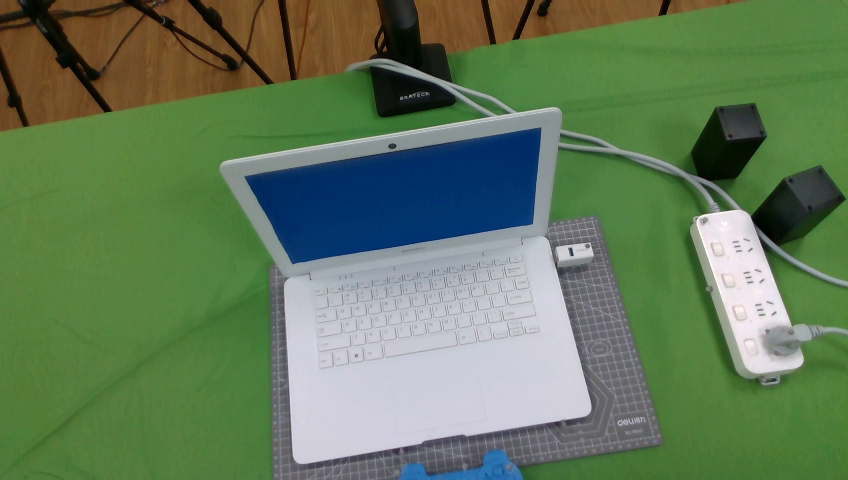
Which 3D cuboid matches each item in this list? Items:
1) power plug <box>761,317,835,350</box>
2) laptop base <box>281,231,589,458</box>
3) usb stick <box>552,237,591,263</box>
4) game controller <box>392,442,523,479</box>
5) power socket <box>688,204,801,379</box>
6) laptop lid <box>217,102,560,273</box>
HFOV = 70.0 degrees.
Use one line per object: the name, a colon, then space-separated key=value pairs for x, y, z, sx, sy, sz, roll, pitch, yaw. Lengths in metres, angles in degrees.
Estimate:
power plug: x=0.426 y=0.110 z=0.697 sx=0.072 sy=0.053 sz=0.035 roll=4 pitch=65 yaw=2
laptop base: x=0.004 y=0.122 z=0.753 sx=0.354 sy=0.023 sz=0.233 roll=-10 pitch=69 yaw=0
usb stick: x=0.181 y=0.014 z=0.774 sx=0.059 sy=0.027 sz=0.021 roll=-11 pitch=66 yaw=4
game controller: x=0.037 y=0.279 z=0.663 sx=0.155 sy=0.052 sz=0.096 roll=-9 pitch=63 yaw=0
power socket: x=0.389 y=0.055 z=0.745 sx=0.072 sy=0.033 sz=0.225 roll=-8 pitch=65 yaw=2
laptop lid: x=-0.026 y=-0.048 z=0.700 sx=0.357 sy=0.244 sz=0.013 roll=-11 pitch=57 yaw=1
